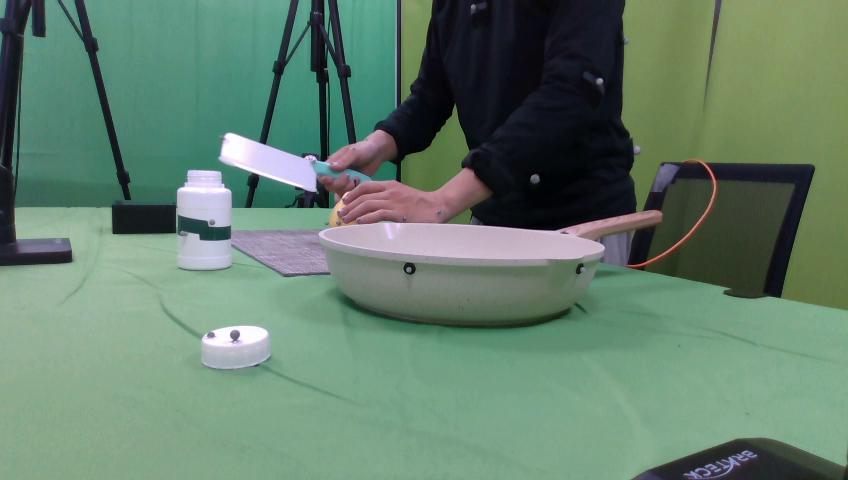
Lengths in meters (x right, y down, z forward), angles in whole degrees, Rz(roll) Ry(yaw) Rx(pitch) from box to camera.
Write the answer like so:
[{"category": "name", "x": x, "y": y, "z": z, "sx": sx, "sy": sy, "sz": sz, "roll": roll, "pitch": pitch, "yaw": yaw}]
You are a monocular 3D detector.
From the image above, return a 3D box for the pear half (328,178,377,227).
[{"category": "pear half", "x": -0.108, "y": -0.042, "z": 0.943, "sx": 0.077, "sy": 0.110, "sz": 0.055, "roll": -4, "pitch": 10, "yaw": -25}]

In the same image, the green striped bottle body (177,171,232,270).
[{"category": "green striped bottle body", "x": -0.273, "y": -0.026, "z": 0.753, "sx": 0.063, "sy": 0.119, "sz": 0.063, "roll": 2, "pitch": 7, "yaw": 0}]

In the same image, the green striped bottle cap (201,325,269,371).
[{"category": "green striped bottle cap", "x": -0.129, "y": 0.073, "z": 0.415, "sx": 0.044, "sy": 0.020, "sz": 0.044, "roll": 2, "pitch": 8, "yaw": 0}]

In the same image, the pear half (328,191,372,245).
[{"category": "pear half", "x": -0.122, "y": -0.037, "z": 0.976, "sx": 0.071, "sy": 0.088, "sz": 0.031, "roll": -4, "pitch": 10, "yaw": -25}]

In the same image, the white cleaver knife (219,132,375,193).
[{"category": "white cleaver knife", "x": -0.207, "y": -0.116, "z": 1.026, "sx": 0.288, "sy": 0.065, "sz": 0.021, "roll": 13, "pitch": -29, "yaw": -36}]

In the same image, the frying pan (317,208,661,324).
[{"category": "frying pan", "x": 0.121, "y": 0.006, "z": 0.691, "sx": 0.490, "sy": 0.102, "sz": 0.305, "roll": -12, "pitch": 15, "yaw": -33}]
